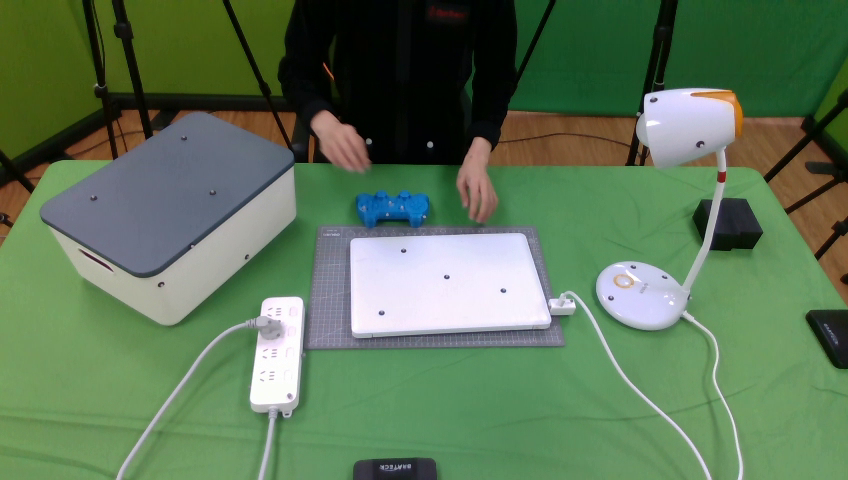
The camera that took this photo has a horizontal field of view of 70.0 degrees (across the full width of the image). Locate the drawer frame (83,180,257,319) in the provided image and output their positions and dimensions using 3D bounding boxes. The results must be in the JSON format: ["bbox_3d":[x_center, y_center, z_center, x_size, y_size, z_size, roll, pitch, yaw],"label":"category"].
[{"bbox_3d":[-0.454,0.010,1.099,0.201,0.083,0.213,27,54,23],"label":"drawer frame"}]

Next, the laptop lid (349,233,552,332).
[{"bbox_3d":[0.040,0.071,1.118,0.357,0.013,0.240,-1,44,-5],"label":"laptop lid"}]

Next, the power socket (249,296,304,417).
[{"bbox_3d":[-0.239,0.182,0.996,0.072,0.033,0.225,-2,47,-5],"label":"power socket"}]

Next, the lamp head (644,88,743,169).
[{"bbox_3d":[0.380,-0.161,0.851,0.122,0.113,0.112,-4,42,25],"label":"lamp head"}]

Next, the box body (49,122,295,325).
[{"bbox_3d":[-0.437,-0.046,1.110,0.253,0.161,0.363,24,49,19],"label":"box body"}]

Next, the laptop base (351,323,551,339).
[{"bbox_3d":[0.040,0.080,1.125,0.355,0.023,0.234,-2,43,-6],"label":"laptop base"}]

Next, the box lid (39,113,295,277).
[{"bbox_3d":[-0.434,-0.096,1.056,0.262,0.015,0.370,25,48,18],"label":"box lid"}]

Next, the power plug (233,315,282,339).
[{"bbox_3d":[-0.271,0.144,0.999,0.072,0.053,0.035,6,47,3],"label":"power plug"}]

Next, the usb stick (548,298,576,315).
[{"bbox_3d":[0.240,0.120,1.086,0.059,0.027,0.021,-2,51,-2],"label":"usb stick"}]

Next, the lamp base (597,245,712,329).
[{"bbox_3d":[0.418,0.051,1.072,0.179,0.181,0.160,22,49,13],"label":"lamp base"}]

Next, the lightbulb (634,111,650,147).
[{"bbox_3d":[0.348,-0.163,0.852,0.059,0.060,0.107,-36,19,-32],"label":"lightbulb"}]

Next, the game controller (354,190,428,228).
[{"bbox_3d":[-0.066,-0.072,1.244,0.155,0.052,0.096,0,48,-4],"label":"game controller"}]
